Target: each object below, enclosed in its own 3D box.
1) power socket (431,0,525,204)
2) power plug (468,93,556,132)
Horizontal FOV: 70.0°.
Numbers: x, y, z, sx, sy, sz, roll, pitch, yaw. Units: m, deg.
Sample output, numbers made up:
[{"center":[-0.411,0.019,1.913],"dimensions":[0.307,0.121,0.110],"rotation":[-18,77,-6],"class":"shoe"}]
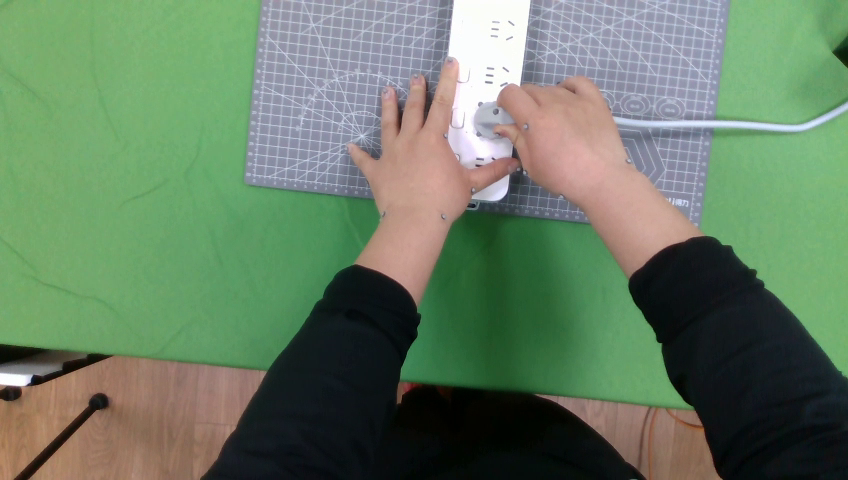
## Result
[{"center":[0.051,-0.148,0.574],"dimensions":[0.072,0.032,0.227],"rotation":[6,93,-1],"class":"power socket"},{"center":[0.077,-0.111,0.558],"dimensions":[0.073,0.052,0.035],"rotation":[19,90,-5],"class":"power plug"}]
